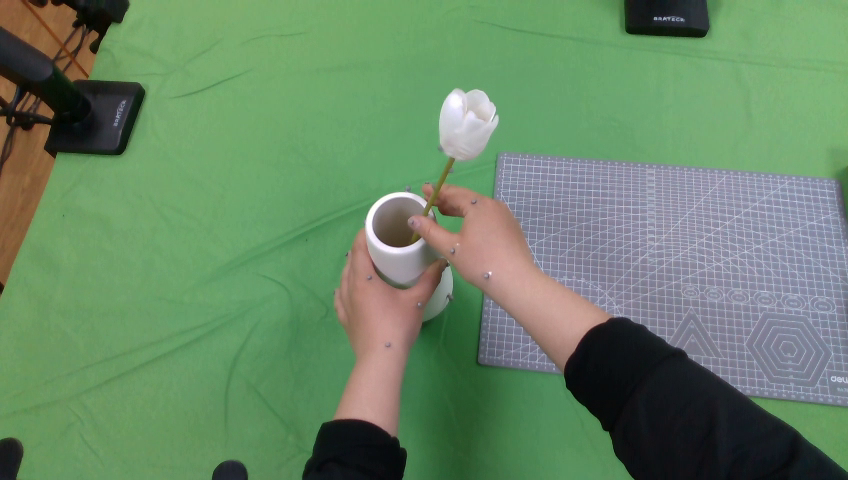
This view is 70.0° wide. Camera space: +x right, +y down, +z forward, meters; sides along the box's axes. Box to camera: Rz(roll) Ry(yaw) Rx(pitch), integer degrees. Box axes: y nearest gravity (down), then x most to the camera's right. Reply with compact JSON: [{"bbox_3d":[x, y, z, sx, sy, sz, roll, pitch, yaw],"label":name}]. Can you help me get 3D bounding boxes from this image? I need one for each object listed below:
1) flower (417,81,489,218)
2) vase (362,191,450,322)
[{"bbox_3d":[-0.006,-0.018,0.602,0.044,0.363,0.038,35,58,7],"label":"flower"},{"bbox_3d":[-0.019,0.022,0.675,0.098,0.201,0.097,-1,66,2],"label":"vase"}]
